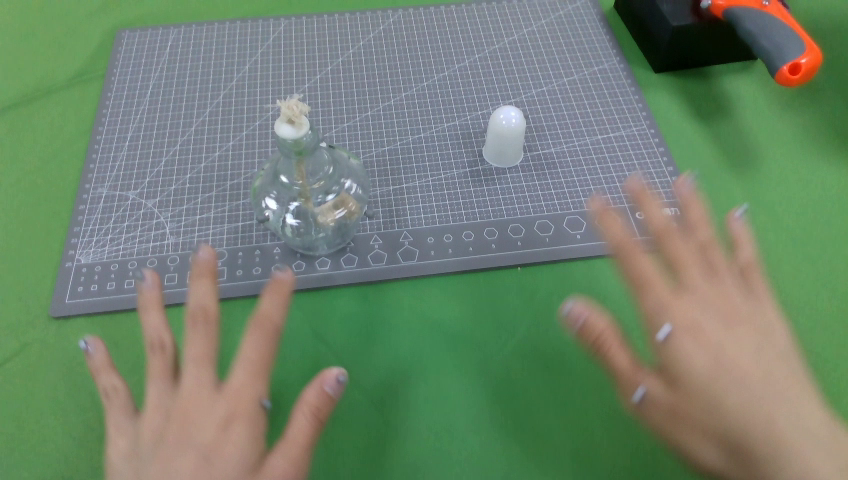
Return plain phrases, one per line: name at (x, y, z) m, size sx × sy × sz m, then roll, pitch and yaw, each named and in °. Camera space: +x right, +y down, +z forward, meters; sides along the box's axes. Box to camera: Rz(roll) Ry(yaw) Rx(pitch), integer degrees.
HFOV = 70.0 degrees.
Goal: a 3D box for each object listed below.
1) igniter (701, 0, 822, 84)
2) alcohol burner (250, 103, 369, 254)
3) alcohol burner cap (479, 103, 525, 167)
igniter at (0.248, -0.225, 0.510) m, size 0.057 × 0.025 × 0.273 m, roll -11°, pitch 55°, yaw -4°
alcohol burner at (-0.076, -0.043, 0.387) m, size 0.078 × 0.120 × 0.077 m, roll 0°, pitch 58°, yaw 1°
alcohol burner cap at (0.061, -0.082, 0.458) m, size 0.034 × 0.048 × 0.033 m, roll 1°, pitch 55°, yaw -1°
